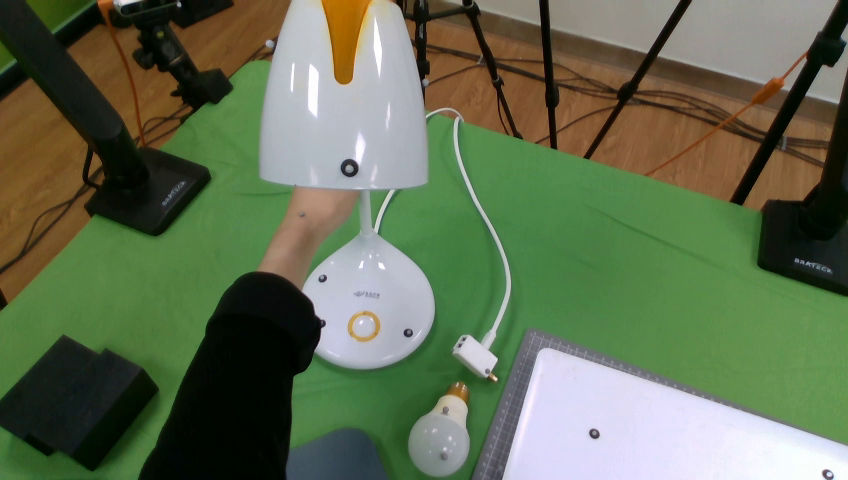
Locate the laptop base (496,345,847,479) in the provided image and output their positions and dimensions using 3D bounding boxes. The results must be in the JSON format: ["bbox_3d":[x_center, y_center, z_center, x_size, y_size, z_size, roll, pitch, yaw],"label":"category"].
[{"bbox_3d":[0.249,0.257,0.587,0.353,0.023,0.234,17,58,10],"label":"laptop base"}]

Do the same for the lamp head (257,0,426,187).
[{"bbox_3d":[-0.051,-0.099,0.391,0.112,0.112,0.123,2,99,0],"label":"lamp head"}]

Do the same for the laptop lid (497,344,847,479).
[{"bbox_3d":[0.248,0.252,0.576,0.355,0.013,0.240,18,58,11],"label":"laptop lid"}]

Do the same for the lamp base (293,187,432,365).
[{"bbox_3d":[-0.071,0.016,0.651,0.161,0.182,0.177,-4,51,-5],"label":"lamp base"}]

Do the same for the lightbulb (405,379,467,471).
[{"bbox_3d":[0.019,0.183,0.614,0.059,0.060,0.107,17,39,11],"label":"lightbulb"}]

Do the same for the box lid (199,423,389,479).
[{"bbox_3d":[-0.109,0.357,0.505,0.264,0.015,0.367,-19,58,-15],"label":"box lid"}]

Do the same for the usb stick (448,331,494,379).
[{"bbox_3d":[0.056,0.127,0.660,0.059,0.021,0.027,45,64,-11],"label":"usb stick"}]
